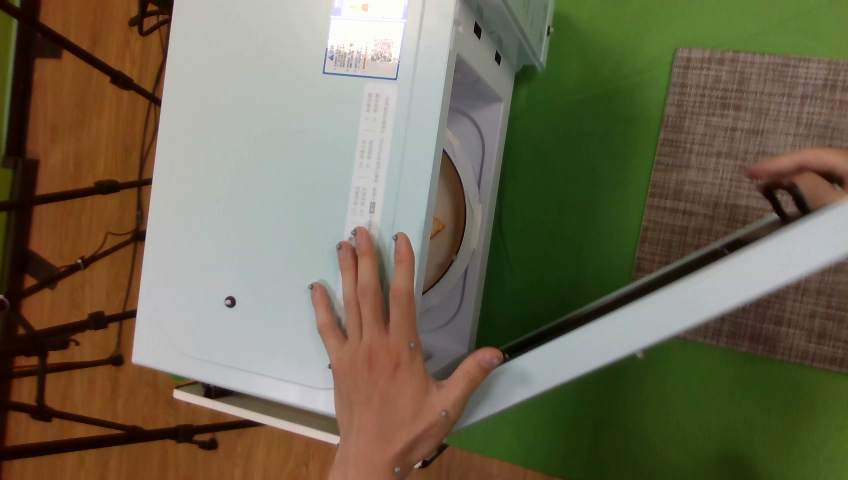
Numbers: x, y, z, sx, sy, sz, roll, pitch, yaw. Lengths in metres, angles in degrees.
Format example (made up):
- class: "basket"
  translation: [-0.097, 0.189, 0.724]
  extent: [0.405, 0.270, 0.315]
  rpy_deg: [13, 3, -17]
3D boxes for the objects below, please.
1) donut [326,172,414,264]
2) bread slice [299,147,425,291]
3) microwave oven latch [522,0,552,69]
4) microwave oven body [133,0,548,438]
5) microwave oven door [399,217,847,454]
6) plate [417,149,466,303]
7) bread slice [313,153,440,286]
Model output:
- class: "donut"
  translation: [-0.057, -0.023, 0.642]
  extent: [0.099, 0.048, 0.099]
  rpy_deg: [0, 90, 15]
- class: "bread slice"
  translation: [-0.074, -0.026, 0.619]
  extent: [0.105, 0.019, 0.131]
  rpy_deg: [-34, 81, 20]
- class: "microwave oven latch"
  translation: [0.121, -0.229, 0.656]
  extent: [0.030, 0.029, 0.079]
  rpy_deg: [9, 94, 19]
- class: "microwave oven body"
  translation: [-0.075, -0.076, 0.624]
  extent: [0.324, 0.261, 0.442]
  rpy_deg: [9, 94, 19]
- class: "microwave oven door"
  translation: [0.169, 0.074, 0.532]
  extent: [0.356, 0.245, 0.039]
  rpy_deg: [-30, 79, 17]
- class: "plate"
  translation: [-0.051, -0.022, 0.671]
  extent: [0.207, 0.039, 0.207]
  rpy_deg: [0, 90, 19]
- class: "bread slice"
  translation: [-0.061, -0.028, 0.664]
  extent: [0.107, 0.018, 0.133]
  rpy_deg: [-37, 72, 4]
